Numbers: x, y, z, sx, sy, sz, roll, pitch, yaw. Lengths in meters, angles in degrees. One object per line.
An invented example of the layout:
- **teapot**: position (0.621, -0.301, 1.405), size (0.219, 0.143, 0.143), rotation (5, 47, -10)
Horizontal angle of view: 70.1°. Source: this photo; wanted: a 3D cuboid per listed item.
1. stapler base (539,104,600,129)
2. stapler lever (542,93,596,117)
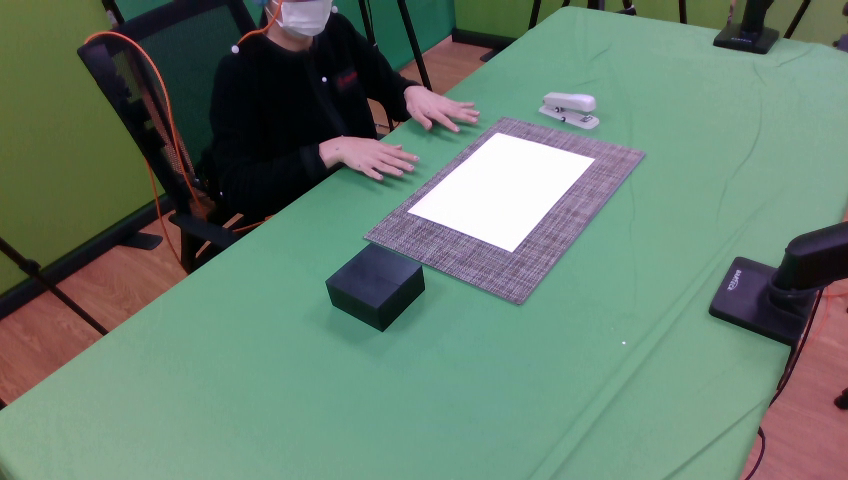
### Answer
- **stapler base**: position (0.297, -0.261, 1.233), size (0.041, 0.024, 0.129), rotation (-34, 45, -29)
- **stapler lever**: position (0.292, -0.280, 1.218), size (0.027, 0.040, 0.117), rotation (-34, 46, -29)
